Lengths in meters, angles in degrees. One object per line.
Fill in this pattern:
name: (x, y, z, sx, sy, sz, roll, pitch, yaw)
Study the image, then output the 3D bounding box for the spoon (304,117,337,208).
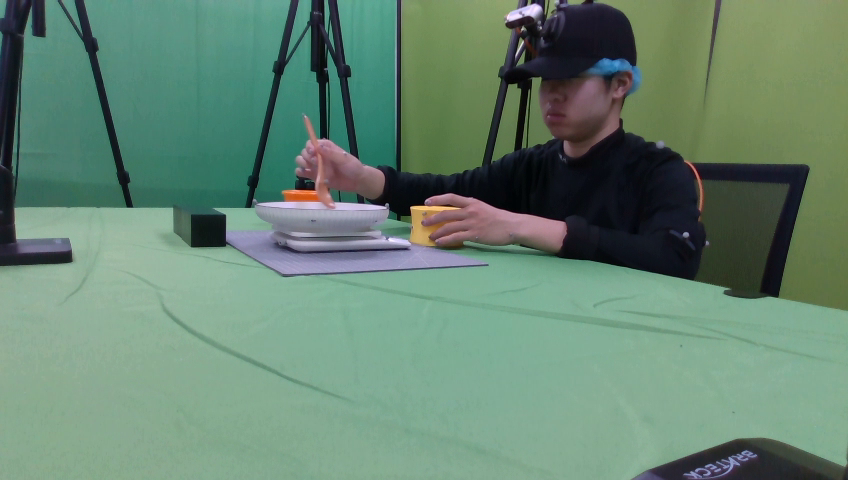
spoon: (-0.180, -0.135, 1.038, 0.021, 0.193, 0.042, -24, -25, 19)

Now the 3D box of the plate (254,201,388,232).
plate: (-0.161, -0.038, 0.961, 0.209, 0.038, 0.209, 2, 6, 0)

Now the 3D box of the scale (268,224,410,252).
scale: (-0.138, -0.006, 0.980, 0.202, 0.031, 0.148, -1, 8, -30)

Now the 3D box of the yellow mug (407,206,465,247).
yellow mug: (0.027, -0.027, 1.104, 0.099, 0.064, 0.131, 6, 7, 20)
